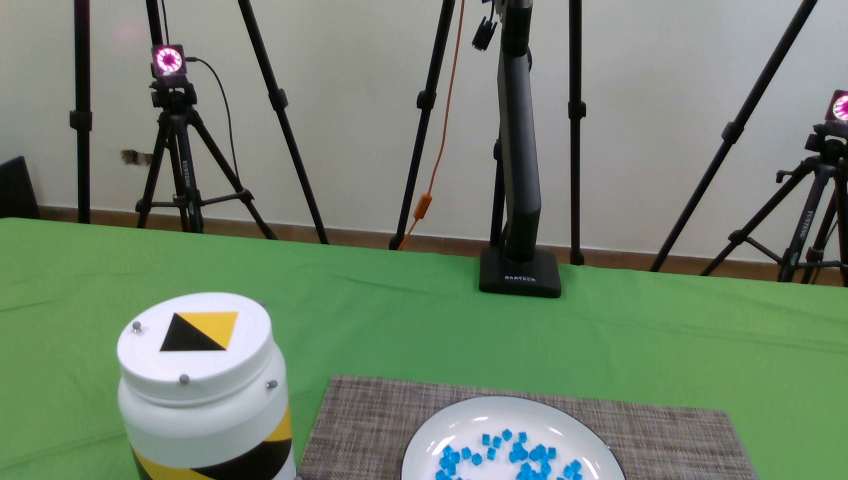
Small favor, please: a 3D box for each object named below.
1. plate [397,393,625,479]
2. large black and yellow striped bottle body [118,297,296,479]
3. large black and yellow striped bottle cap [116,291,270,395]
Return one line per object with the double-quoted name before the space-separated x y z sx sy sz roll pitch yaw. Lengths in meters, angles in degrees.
"plate" 0.079 0.227 0.556 0.208 0.039 0.206 2 29 -1
"large black and yellow striped bottle body" -0.183 0.152 0.524 0.131 0.185 0.129 2 30 -1
"large black and yellow striped bottle cap" -0.182 0.078 0.483 0.115 0.019 0.114 4 29 -2
